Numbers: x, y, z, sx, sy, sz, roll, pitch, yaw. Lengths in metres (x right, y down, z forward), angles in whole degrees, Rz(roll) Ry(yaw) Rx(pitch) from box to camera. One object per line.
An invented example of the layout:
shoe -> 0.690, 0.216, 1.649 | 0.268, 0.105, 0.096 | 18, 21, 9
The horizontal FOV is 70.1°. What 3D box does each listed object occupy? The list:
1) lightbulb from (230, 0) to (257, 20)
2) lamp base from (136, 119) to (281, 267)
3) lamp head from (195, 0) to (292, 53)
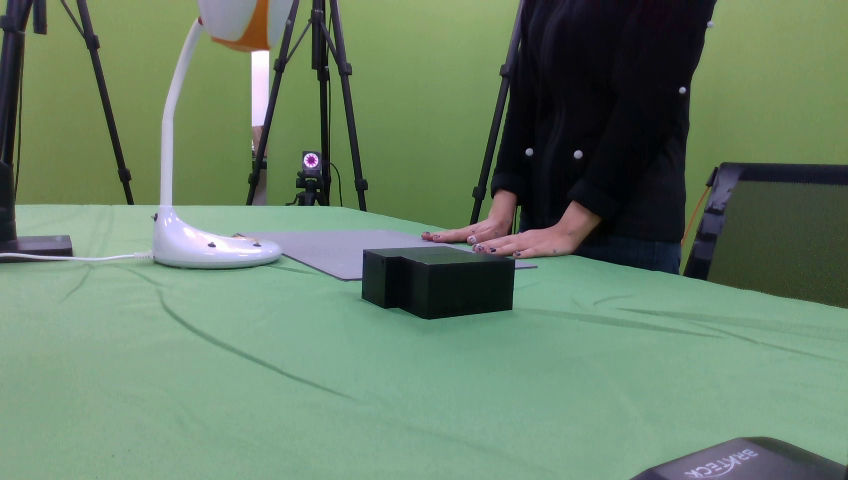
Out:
lightbulb -> -0.175, -0.275, 0.603 | 0.059, 0.107, 0.059 | 11, 11, -2
lamp base -> -0.275, -0.061, 0.773 | 0.160, 0.180, 0.180 | 9, 13, 44
lamp head -> -0.185, -0.254, 0.610 | 0.112, 0.123, 0.112 | 10, 20, -3
